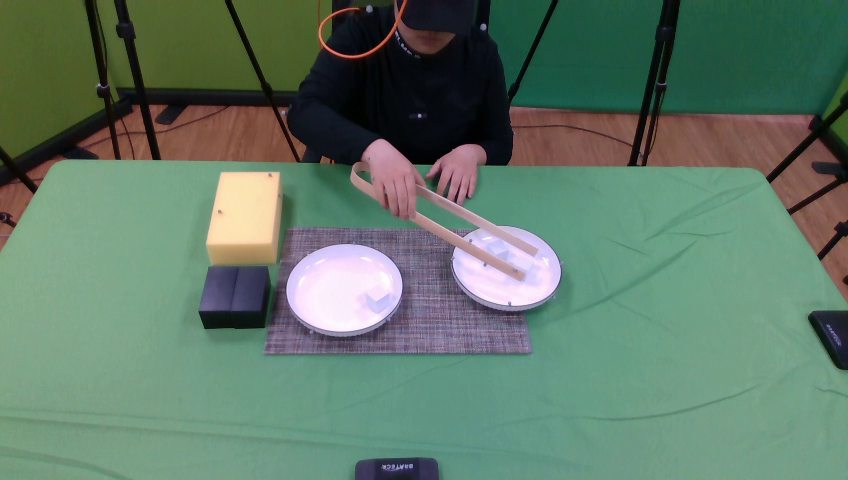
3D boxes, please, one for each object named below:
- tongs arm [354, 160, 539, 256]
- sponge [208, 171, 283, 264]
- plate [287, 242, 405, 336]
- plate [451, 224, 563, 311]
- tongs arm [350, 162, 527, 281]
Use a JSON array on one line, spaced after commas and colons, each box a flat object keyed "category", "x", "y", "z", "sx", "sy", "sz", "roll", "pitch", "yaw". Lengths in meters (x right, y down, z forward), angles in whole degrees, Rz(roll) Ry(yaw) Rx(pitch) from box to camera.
[{"category": "tongs arm", "x": 0.042, "y": -0.063, "z": 1.159, "sx": 0.387, "sy": 0.028, "sz": 0.028, "roll": 27, "pitch": 49, "yaw": 5}, {"category": "sponge", "x": -0.346, "y": -0.048, "z": 1.191, "sx": 0.118, "sy": 0.061, "sz": 0.205, "roll": -2, "pitch": 46, "yaw": -7}, {"category": "plate", "x": -0.138, "y": 0.090, "z": 1.084, "sx": 0.208, "sy": 0.039, "sz": 0.206, "roll": 2, "pitch": 46, "yaw": -2}, {"category": "plate", "x": 0.154, "y": 0.053, "z": 1.140, "sx": 0.209, "sy": 0.038, "sz": 0.208, "roll": 2, "pitch": 47, "yaw": -2}, {"category": "tongs arm", "x": 0.022, "y": -0.037, "z": 1.127, "sx": 0.384, "sy": 0.026, "sz": 0.050, "roll": 28, "pitch": 46, "yaw": 7}]
